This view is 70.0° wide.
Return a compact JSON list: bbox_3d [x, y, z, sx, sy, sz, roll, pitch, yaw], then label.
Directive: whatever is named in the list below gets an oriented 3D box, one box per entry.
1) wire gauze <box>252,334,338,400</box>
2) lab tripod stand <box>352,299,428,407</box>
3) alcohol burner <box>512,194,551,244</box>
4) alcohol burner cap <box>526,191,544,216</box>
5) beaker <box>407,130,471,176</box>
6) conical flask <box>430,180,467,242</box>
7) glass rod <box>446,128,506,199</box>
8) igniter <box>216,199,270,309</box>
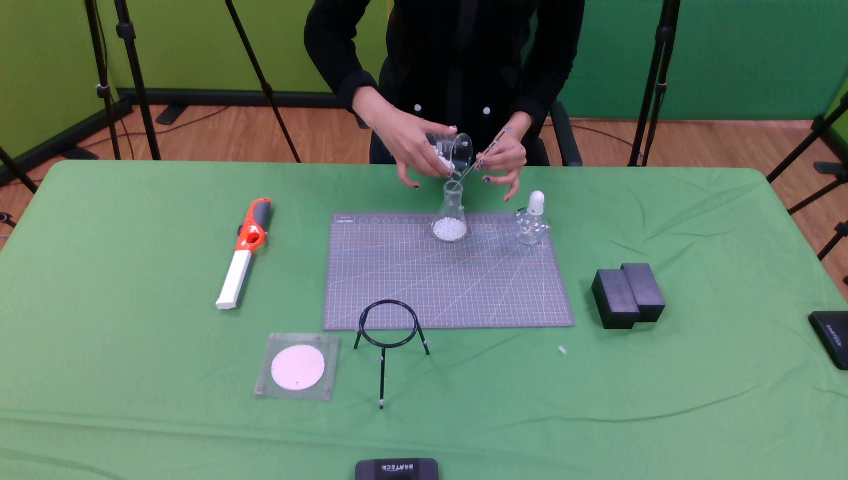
[{"bbox_3d":[-0.209,0.204,0.996,0.125,0.011,0.120,3,45,1],"label":"wire gauze"},{"bbox_3d":[-0.056,0.166,0.958,0.148,0.132,0.147,3,44,-2],"label":"lab tripod stand"},{"bbox_3d":[0.215,-0.048,1.196,0.078,0.119,0.077,4,46,-4],"label":"alcohol burner"},{"bbox_3d":[0.216,-0.073,1.170,0.034,0.048,0.033,0,43,0],"label":"alcohol burner cap"},{"bbox_3d":[0.027,-0.162,1.116,0.100,0.084,0.074,13,36,33],"label":"beaker"},{"bbox_3d":[0.052,-0.060,1.188,0.075,0.122,0.075,2,46,-2],"label":"conical flask"},{"bbox_3d":[0.092,-0.134,1.104,0.008,0.200,0.008,19,47,-22],"label":"glass rod"},{"bbox_3d":[-0.341,0.016,1.153,0.057,0.025,0.275,-3,45,7],"label":"igniter"}]
